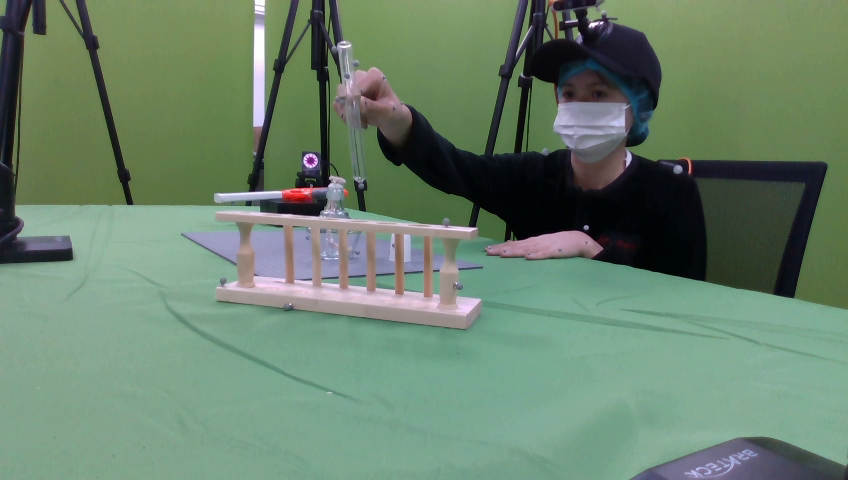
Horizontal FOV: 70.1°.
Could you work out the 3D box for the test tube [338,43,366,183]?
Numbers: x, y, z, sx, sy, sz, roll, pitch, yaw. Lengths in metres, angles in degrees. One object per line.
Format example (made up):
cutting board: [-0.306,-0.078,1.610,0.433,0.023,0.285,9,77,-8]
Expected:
test tube: [-0.077,-0.136,0.647,0.017,0.150,0.017,-6,0,0]

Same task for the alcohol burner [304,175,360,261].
alcohol burner: [-0.126,-0.031,0.838,0.078,0.119,0.078,3,5,0]

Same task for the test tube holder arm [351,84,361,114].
test tube holder arm: [-0.076,-0.155,0.672,0.010,0.015,0.087,-4,0,-8]

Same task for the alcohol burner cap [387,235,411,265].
alcohol burner cap: [-0.035,0.009,0.840,0.034,0.048,0.034,2,6,0]

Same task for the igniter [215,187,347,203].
igniter: [-0.293,-0.095,1.267,0.278,0.025,0.057,-6,12,-33]

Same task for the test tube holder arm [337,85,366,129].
test tube holder arm: [-0.084,-0.155,0.716,0.013,0.015,0.178,-3,0,0]

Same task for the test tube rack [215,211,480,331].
test tube rack: [-0.071,0.022,0.565,0.242,0.085,0.067,5,7,16]
